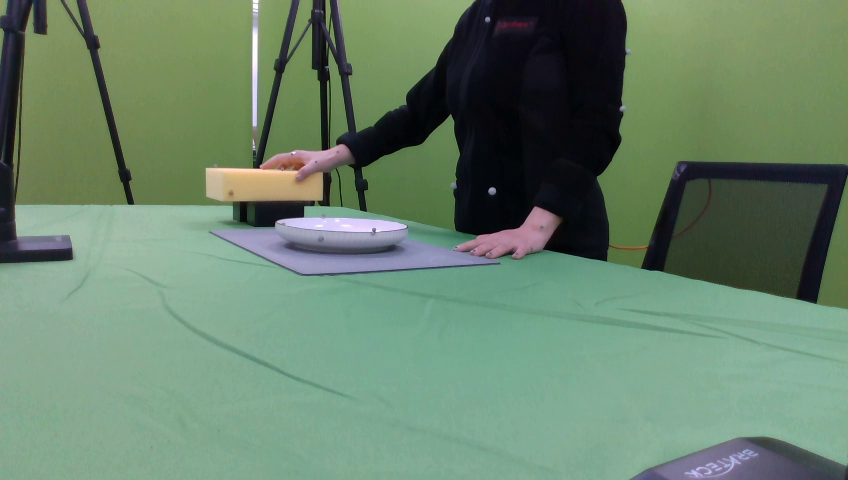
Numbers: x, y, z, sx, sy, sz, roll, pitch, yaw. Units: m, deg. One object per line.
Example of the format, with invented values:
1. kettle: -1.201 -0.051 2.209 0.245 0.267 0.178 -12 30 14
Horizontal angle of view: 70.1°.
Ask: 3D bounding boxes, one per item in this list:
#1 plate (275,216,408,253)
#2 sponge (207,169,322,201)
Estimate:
1. plate: -0.129 -0.009 0.954 0.209 0.038 0.209 2 7 0
2. sponge: -0.328 -0.115 1.247 0.208 0.061 0.117 -4 10 -35
